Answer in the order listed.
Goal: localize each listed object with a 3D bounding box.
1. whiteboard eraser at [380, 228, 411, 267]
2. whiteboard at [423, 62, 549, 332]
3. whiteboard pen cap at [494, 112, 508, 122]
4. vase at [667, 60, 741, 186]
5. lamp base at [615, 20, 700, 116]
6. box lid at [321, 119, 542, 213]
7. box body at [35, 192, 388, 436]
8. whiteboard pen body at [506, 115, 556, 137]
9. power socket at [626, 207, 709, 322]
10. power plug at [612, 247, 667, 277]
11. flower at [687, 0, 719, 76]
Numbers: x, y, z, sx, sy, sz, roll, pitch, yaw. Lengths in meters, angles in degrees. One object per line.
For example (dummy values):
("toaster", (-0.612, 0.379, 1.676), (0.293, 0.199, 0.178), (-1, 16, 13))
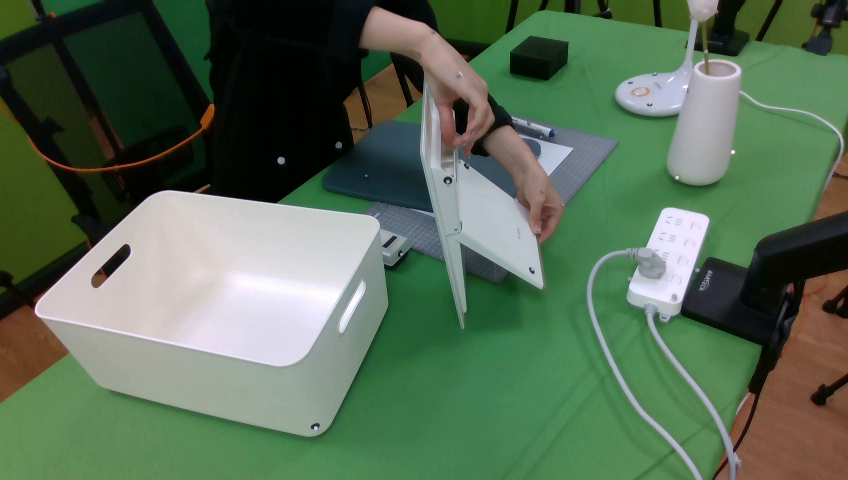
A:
("whiteboard eraser", (-0.081, 0.007, 0.963), (0.112, 0.042, 0.056), (19, 46, 28))
("whiteboard", (0.088, -0.058, 0.809), (0.144, 0.307, 0.216), (-4, 42, 7))
("whiteboard pen cap", (0.161, -0.253, 1.248), (0.033, 0.018, 0.018), (29, 52, 36))
("vase", (0.463, -0.189, 0.994), (0.098, 0.201, 0.097), (-4, 40, 4))
("lamp base", (0.484, -0.364, 1.211), (0.180, 0.181, 0.159), (-15, 41, -14))
("box lid", (0.017, -0.141, 1.145), (0.369, 0.015, 0.263), (12, 44, 22))
("box body", (-0.251, 0.088, 0.800), (0.362, 0.161, 0.254), (7, 42, 16))
("whiteboard pen body", (0.203, -0.232, 1.213), (0.139, 0.017, 0.017), (27, 51, 36))
("power socket", (0.360, 0.026, 0.886), (0.072, 0.033, 0.227), (17, 46, 27))
("power plug", (0.306, 0.031, 0.852), (0.072, 0.053, 0.035), (21, 48, 37))
("flower", (0.436, -0.242, 0.934), (0.038, 0.364, 0.043), (-24, 49, 8))
